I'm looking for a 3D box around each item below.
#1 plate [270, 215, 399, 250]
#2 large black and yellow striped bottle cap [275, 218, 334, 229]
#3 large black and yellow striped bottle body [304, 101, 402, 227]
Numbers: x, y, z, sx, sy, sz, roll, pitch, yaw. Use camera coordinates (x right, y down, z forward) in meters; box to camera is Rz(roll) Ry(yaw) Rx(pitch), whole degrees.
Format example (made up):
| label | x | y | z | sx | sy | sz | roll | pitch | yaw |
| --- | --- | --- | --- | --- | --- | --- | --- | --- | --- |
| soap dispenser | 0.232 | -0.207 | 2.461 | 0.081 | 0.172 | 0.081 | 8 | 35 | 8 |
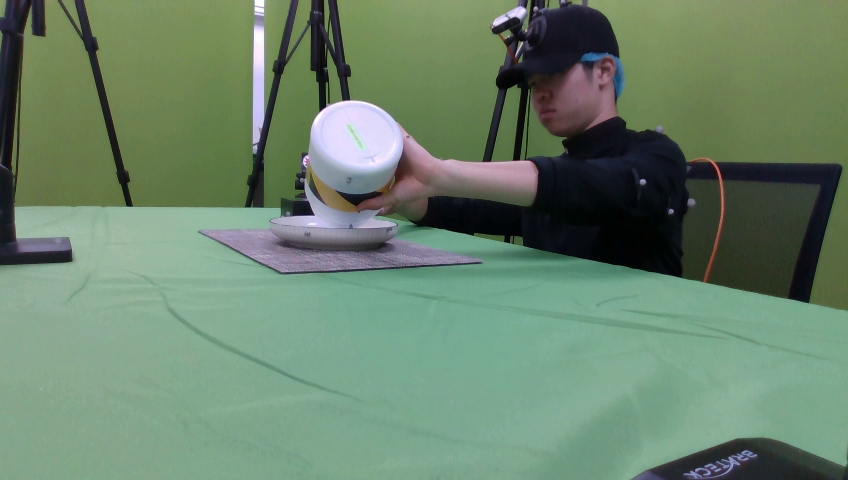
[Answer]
| label | x | y | z | sx | sy | sz | roll | pitch | yaw |
| --- | --- | --- | --- | --- | --- | --- | --- | --- | --- |
| plate | -0.145 | -0.013 | 0.992 | 0.208 | 0.039 | 0.207 | 2 | 7 | 0 |
| large black and yellow striped bottle cap | -0.236 | -0.033 | 1.197 | 0.115 | 0.019 | 0.115 | 2 | 3 | 0 |
| large black and yellow striped bottle body | -0.113 | -0.105 | 0.917 | 0.131 | 0.130 | 0.184 | 1 | -28 | -15 |
